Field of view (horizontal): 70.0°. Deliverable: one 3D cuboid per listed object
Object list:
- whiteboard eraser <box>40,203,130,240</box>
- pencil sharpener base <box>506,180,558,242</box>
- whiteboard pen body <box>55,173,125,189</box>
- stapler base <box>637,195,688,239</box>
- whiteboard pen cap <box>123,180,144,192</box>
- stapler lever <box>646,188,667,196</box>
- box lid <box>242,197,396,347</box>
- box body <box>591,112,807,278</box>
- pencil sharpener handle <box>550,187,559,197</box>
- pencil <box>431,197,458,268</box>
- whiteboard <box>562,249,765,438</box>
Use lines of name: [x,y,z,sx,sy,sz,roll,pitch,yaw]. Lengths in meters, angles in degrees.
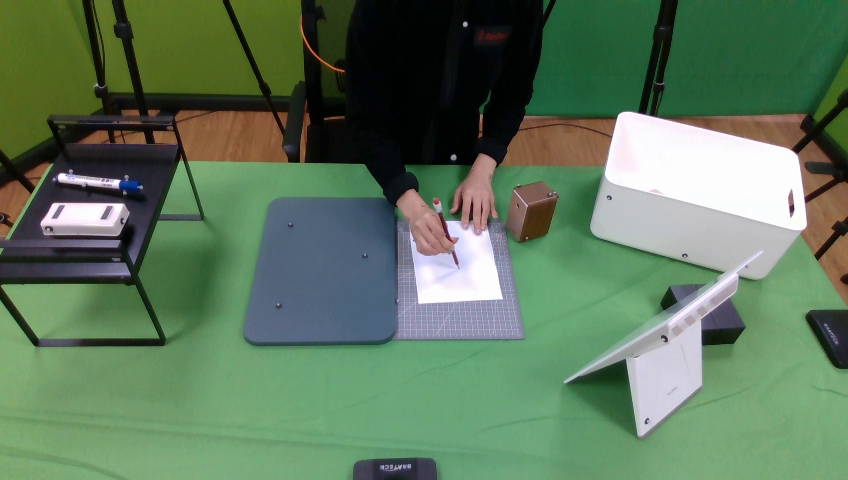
whiteboard eraser: [-0.513,-0.028,0.922,0.113,0.042,0.055,1,48,-3]
pencil sharpener base: [0.216,-0.058,1.211,0.077,0.107,0.061,-16,49,-19]
whiteboard pen body: [-0.539,-0.095,0.998,0.141,0.017,0.017,6,46,6]
stapler base: [0.507,-0.055,1.280,0.041,0.024,0.129,-14,47,-19]
whiteboard pen cap: [-0.479,-0.089,0.993,0.033,0.018,0.018,7,46,14]
stapler lever: [0.507,-0.075,1.262,0.027,0.040,0.117,-14,46,-19]
box lid: [-0.186,0.046,1.147,0.263,0.015,0.369,0,46,-3]
box body: [0.540,-0.092,1.229,0.363,0.161,0.253,16,47,11]
pencil sharpener handle: [0.261,-0.084,1.221,0.031,0.068,0.036,-16,65,-19]
pencil: [0.041,-0.008,1.088,0.012,0.195,0.012,-9,48,11]
whiteboard: [0.386,0.175,0.905,0.217,0.306,0.143,-26,72,-26]
